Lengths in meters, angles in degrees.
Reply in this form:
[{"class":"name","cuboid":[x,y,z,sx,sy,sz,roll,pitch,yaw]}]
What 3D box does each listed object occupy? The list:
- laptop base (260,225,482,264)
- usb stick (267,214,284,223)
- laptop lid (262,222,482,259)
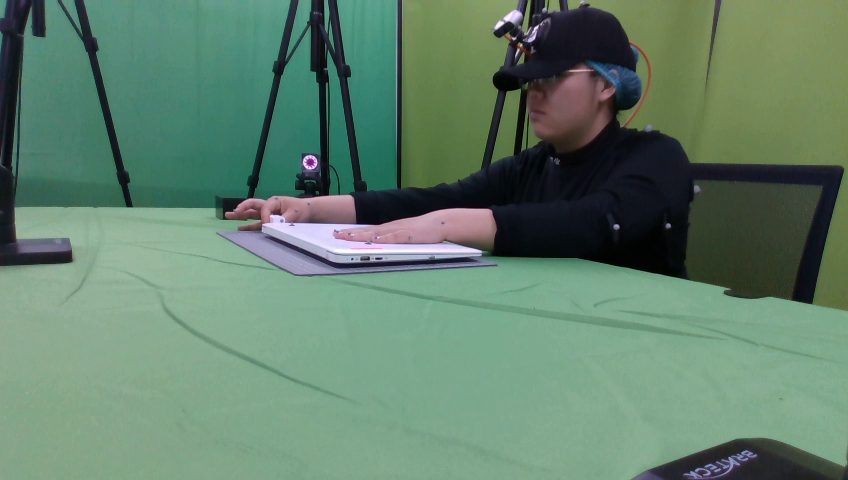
[{"class":"laptop base","cuboid":[-0.101,0.007,0.964,0.237,0.023,0.352,3,6,-31]},{"class":"usb stick","cuboid":[-0.266,-0.030,1.088,0.021,0.027,0.059,-4,17,-27]},{"class":"laptop lid","cuboid":[-0.098,-0.003,0.964,0.243,0.013,0.355,2,7,-29]}]
